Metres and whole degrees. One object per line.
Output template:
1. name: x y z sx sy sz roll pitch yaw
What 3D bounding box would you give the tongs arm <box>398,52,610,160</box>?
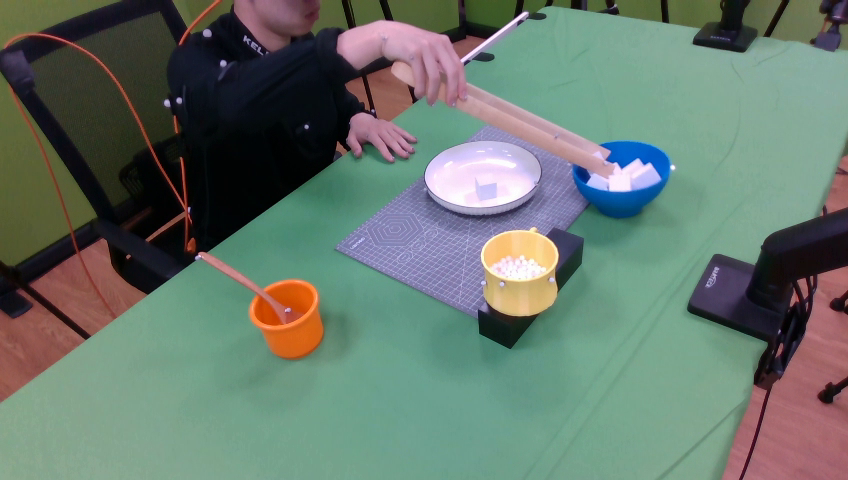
1. tongs arm: 0.129 -0.201 0.951 0.389 0.028 0.028 22 34 -15

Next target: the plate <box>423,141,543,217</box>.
1. plate: 0.103 -0.103 1.059 0.207 0.039 0.206 -4 40 4

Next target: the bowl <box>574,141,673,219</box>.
1. bowl: 0.319 -0.088 0.980 0.151 0.077 0.150 -6 39 5

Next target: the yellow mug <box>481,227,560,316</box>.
1. yellow mug: 0.131 0.032 0.801 0.099 0.064 0.131 12 43 20

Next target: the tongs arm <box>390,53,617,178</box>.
1. tongs arm: 0.129 -0.186 0.927 0.387 0.026 0.050 21 31 -17

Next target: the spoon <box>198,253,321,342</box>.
1. spoon: -0.220 0.075 0.815 0.021 0.194 0.041 -36 19 39
